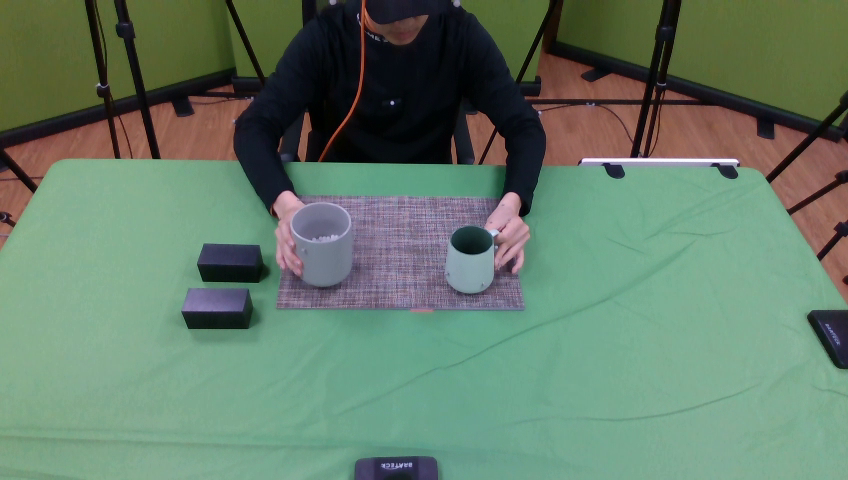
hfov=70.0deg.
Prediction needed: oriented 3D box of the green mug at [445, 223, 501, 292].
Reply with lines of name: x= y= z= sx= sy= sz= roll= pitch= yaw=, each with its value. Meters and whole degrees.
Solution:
green mug: x=0.096 y=0.025 z=1.112 sx=0.125 sy=0.105 sz=0.092 roll=-35 pitch=54 yaw=-30

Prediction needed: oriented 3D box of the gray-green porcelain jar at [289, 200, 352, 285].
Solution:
gray-green porcelain jar: x=-0.181 y=0.009 z=1.079 sx=0.106 sy=0.127 sz=0.105 roll=2 pitch=45 yaw=-2
